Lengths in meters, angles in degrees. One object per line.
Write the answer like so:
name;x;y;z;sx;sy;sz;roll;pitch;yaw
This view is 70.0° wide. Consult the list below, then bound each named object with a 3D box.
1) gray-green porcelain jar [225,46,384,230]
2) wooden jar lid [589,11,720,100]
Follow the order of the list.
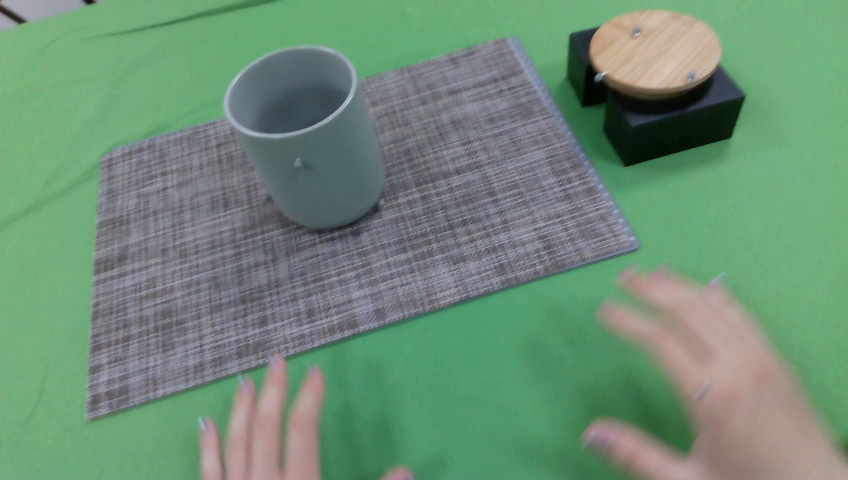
gray-green porcelain jar;-0.092;-0.078;0.511;0.106;0.128;0.105;-4;54;7
wooden jar lid;0.199;-0.161;0.530;0.108;0.021;0.107;-4;55;7
